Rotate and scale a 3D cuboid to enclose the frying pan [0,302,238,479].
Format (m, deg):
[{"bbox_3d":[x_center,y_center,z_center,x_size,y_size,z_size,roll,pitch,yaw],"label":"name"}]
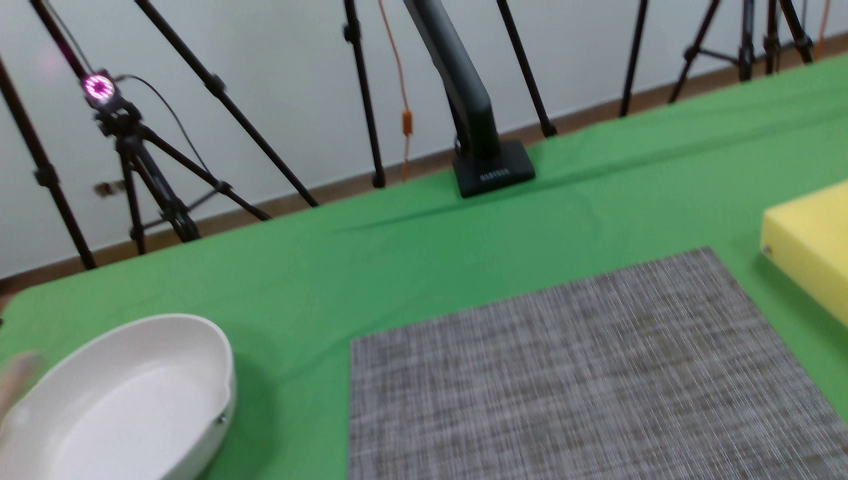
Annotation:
[{"bbox_3d":[-0.366,0.254,0.619,0.306,0.103,0.484,-7,31,17],"label":"frying pan"}]

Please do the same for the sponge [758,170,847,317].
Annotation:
[{"bbox_3d":[0.454,0.016,0.602,0.118,0.061,0.204,-20,38,-2],"label":"sponge"}]
